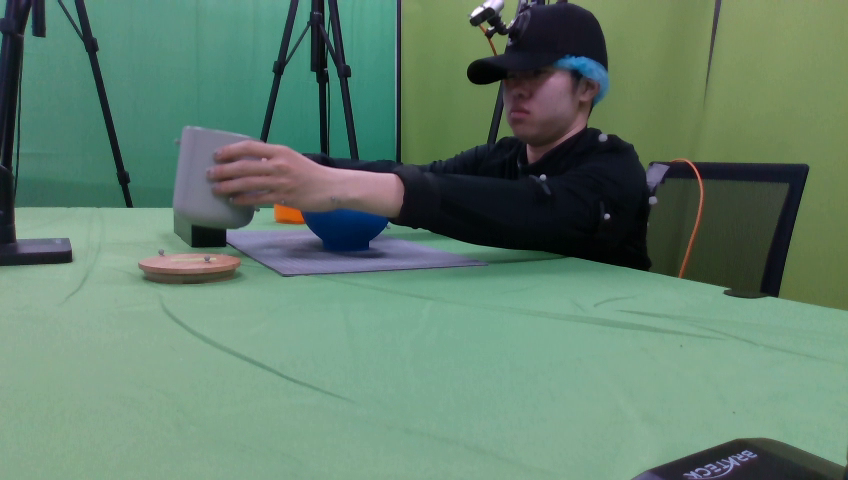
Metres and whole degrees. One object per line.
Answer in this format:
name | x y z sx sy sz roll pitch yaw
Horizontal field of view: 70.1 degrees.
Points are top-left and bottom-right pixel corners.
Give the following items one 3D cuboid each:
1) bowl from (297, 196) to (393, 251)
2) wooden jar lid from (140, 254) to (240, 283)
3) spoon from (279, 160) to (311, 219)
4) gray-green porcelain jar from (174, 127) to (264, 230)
bowl | -0.125 -0.026 0.957 0.151 0.077 0.151 2 7 0
wooden jar lid | -0.268 0.032 0.697 0.108 0.020 0.108 2 5 0
spoon | -0.285 -0.117 1.371 0.041 0.193 0.022 3 -37 11
gray-green porcelain jar | -0.282 -0.082 0.829 0.106 0.126 0.106 9 4 0
